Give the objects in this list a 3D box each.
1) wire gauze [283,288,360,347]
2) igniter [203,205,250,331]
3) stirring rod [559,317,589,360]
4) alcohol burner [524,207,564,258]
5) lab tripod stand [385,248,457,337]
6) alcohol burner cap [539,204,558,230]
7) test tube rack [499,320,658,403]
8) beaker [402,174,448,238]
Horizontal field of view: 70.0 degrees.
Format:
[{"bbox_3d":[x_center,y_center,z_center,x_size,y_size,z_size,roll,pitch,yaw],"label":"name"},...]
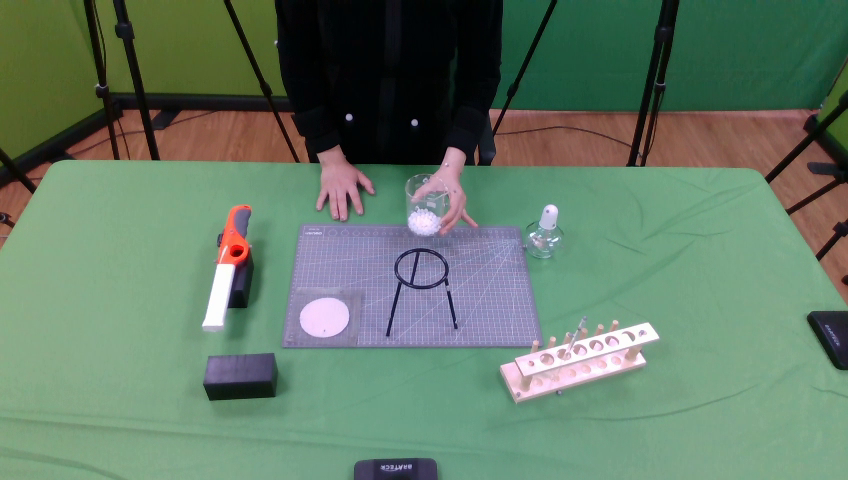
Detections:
[{"bbox_3d":[-0.178,0.132,1.063,0.125,0.011,0.120,2,46,1],"label":"wire gauze"},{"bbox_3d":[-0.345,0.039,1.065,0.057,0.025,0.274,3,49,-6],"label":"igniter"},{"bbox_3d":[0.221,0.155,0.912,0.014,0.177,0.006,5,58,2],"label":"stirring rod"},{"bbox_3d":[0.236,-0.021,1.174,0.078,0.120,0.077,1,48,-1],"label":"alcohol burner"},{"bbox_3d":[-0.010,0.087,1.032,0.148,0.132,0.147,1,45,-1],"label":"lab tripod stand"},{"bbox_3d":[0.238,-0.046,1.148,0.034,0.048,0.033,2,43,-1],"label":"alcohol burner cap"},{"bbox_3d":[0.252,0.187,0.994,0.243,0.085,0.066,-12,48,-15],"label":"test tube rack"},{"bbox_3d":[0.002,-0.060,1.126,0.084,0.101,0.073,6,47,5],"label":"beaker"}]
